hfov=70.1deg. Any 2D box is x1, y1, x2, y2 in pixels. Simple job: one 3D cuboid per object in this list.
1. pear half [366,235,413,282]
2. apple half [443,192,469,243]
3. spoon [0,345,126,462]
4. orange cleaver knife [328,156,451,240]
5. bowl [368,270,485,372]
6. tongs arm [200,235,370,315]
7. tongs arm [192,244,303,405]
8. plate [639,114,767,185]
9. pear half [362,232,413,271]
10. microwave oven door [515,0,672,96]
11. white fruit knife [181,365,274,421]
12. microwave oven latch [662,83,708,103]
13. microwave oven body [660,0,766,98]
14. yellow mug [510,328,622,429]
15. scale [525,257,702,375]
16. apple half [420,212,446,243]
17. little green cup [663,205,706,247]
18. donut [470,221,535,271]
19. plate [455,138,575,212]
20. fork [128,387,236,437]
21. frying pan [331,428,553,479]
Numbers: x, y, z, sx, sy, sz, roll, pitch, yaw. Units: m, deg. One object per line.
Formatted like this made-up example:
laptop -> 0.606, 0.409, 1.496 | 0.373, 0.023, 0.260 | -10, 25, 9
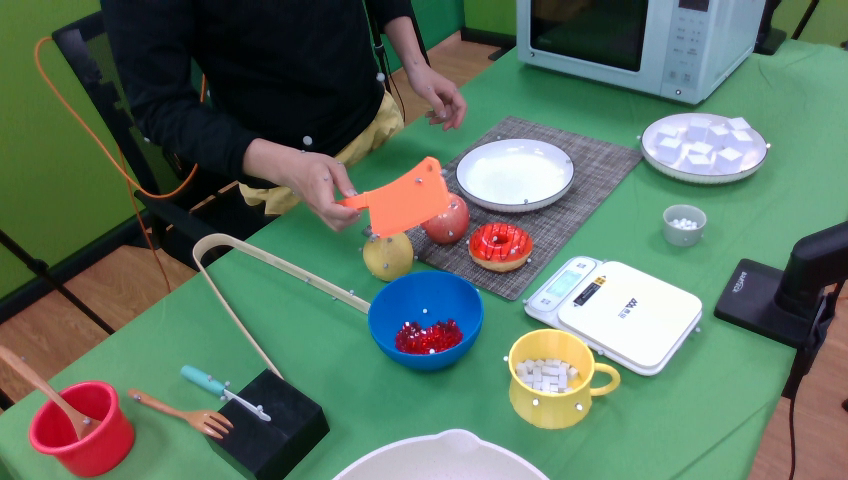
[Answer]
pear half -> -0.048, 0.031, 0.893 | 0.071, 0.088, 0.031 | -16, 40, -13
apple half -> 0.045, -0.038, 0.967 | 0.053, 0.075, 0.080 | -14, 37, -11
spoon -> -0.434, 0.192, 0.720 | 0.194, 0.021, 0.042 | 47, 53, -7
orange cleaver knife -> -0.047, -0.040, 0.725 | 0.210, 0.012, 0.077 | -16, 73, 43
bowl -> 0.007, 0.119, 0.791 | 0.151, 0.077, 0.150 | -5, 40, 4
tongs arm -> -0.209, 0.062, 0.924 | 0.381, 0.026, 0.051 | 23, 54, 32
tongs arm -> -0.268, 0.110, 0.883 | 0.028, 0.028, 0.384 | -36, 47, -18
plate -> 0.489, -0.157, 1.074 | 0.207, 0.039, 0.206 | -4, 40, 4
pear half -> -0.059, 0.002, 0.913 | 0.076, 0.110, 0.055 | -14, 40, -13
microwave oven door -> 0.343, -0.454, 1.259 | 0.353, 0.245, 0.039 | 26, 51, 33
white fruit knife -> -0.246, 0.188, 0.747 | 0.205, 0.027, 0.016 | 9, 41, 41
microwave oven latch -> 0.517, -0.296, 1.204 | 0.078, 0.029, 0.030 | 27, 52, 35
microwave oven body -> 0.472, -0.513, 1.317 | 0.438, 0.261, 0.327 | 26, 51, 34
yellow mug -> 0.168, 0.164, 0.722 | 0.130, 0.064, 0.099 | 0, 40, 8
scale -> 0.254, 0.091, 0.821 | 0.199, 0.032, 0.149 | 28, 51, 35
apple half -> 0.009, -0.028, 0.959 | 0.033, 0.081, 0.080 | -14, 41, -11
little green cup -> 0.396, -0.020, 0.926 | 0.061, 0.039, 0.061 | -4, 40, 4
donut -> 0.119, 0.009, 0.923 | 0.099, 0.048, 0.098 | -3, 39, 3
plate -> 0.159, -0.111, 1.063 | 0.209, 0.038, 0.208 | -4, 40, 4
fork -> -0.305, 0.207, 0.744 | 0.206, 0.019, 0.028 | 3, 40, 36
frying pan -> -0.089, 0.305, 0.564 | 0.487, 0.103, 0.306 | 10, 41, 7
